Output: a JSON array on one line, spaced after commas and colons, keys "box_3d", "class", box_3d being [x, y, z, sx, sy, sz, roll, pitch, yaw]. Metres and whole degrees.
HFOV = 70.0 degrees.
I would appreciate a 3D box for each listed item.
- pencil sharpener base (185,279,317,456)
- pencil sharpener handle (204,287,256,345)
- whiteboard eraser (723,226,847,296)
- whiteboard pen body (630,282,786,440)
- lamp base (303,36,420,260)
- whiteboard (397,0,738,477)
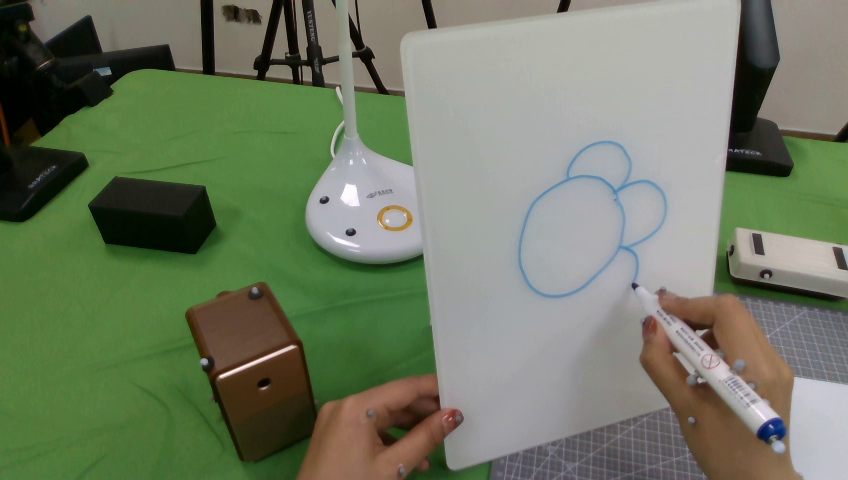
[{"box_3d": [-0.125, 0.093, 0.445, 0.061, 0.108, 0.076, -22, 45, -22], "class": "pencil sharpener base"}, {"box_3d": [-0.150, 0.054, 0.470, 0.036, 0.068, 0.030, -28, 47, -16], "class": "pencil sharpener handle"}, {"box_3d": [0.349, 0.022, 0.580, 0.112, 0.042, 0.055, 9, 40, 11], "class": "whiteboard eraser"}, {"box_3d": [0.162, 0.064, 0.367, 0.017, 0.017, 0.139, -10, 33, -11], "class": "whiteboard pen body"}, {"box_3d": [-0.056, -0.099, 0.609, 0.161, 0.182, 0.177, -25, 45, -26], "class": "lamp base"}, {"box_3d": [0.087, -0.014, 0.461, 0.218, 0.307, 0.142, -11, 23, -12], "class": "whiteboard"}]
